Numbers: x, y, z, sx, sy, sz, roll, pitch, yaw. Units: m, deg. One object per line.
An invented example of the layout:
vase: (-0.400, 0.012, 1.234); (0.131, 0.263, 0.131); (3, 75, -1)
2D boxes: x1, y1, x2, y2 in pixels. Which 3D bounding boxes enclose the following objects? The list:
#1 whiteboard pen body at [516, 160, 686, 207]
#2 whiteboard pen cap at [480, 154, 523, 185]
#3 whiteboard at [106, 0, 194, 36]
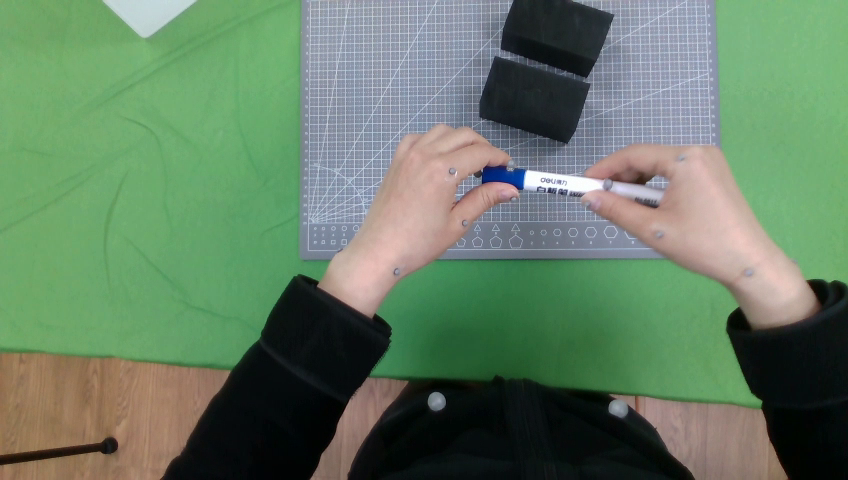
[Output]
whiteboard pen body: (0.116, -0.043, 0.438); (0.140, 0.017, 0.017); (11, 87, 10)
whiteboard pen cap: (0.059, -0.052, 0.451); (0.033, 0.018, 0.018); (18, 87, 17)
whiteboard: (-0.309, -0.398, 0.579); (0.217, 0.308, 0.142); (-36, 65, 2)
